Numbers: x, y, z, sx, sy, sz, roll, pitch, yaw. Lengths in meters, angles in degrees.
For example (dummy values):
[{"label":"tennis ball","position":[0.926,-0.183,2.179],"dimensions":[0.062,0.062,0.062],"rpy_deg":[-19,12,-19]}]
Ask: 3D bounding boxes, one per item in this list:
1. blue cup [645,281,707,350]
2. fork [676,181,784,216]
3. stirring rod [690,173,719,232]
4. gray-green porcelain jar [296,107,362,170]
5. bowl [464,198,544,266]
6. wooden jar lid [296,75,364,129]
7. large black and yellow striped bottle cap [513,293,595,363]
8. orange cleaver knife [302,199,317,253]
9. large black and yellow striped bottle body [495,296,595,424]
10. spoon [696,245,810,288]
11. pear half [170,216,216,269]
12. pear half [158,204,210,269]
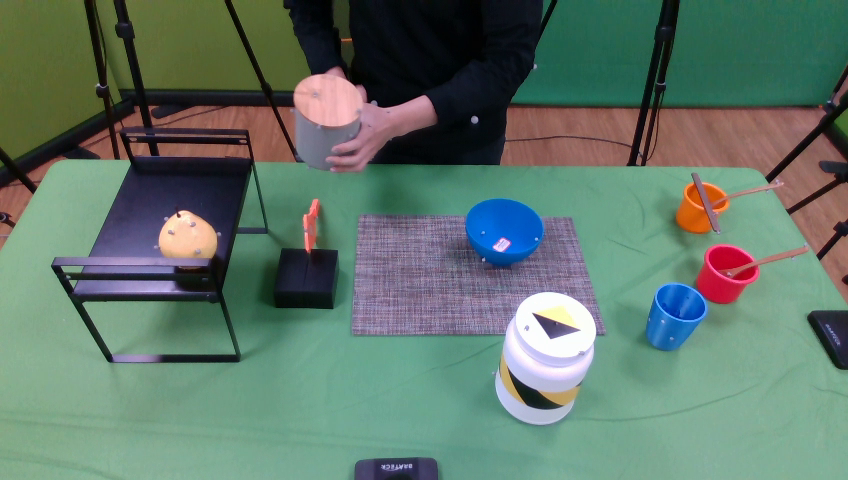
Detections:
[{"label":"blue cup","position":[0.425,0.136,1.042],"dimensions":[0.092,0.101,0.092],"rpy_deg":[1,44,-1]},{"label":"fork","position":[0.618,-0.083,1.235],"dimensions":[0.207,0.019,0.028],"rpy_deg":[-23,21,38]},{"label":"stirring rod","position":[0.566,-0.080,1.225],"dimensions":[0.014,0.006,0.175],"rpy_deg":[2,46,2]},{"label":"gray-green porcelain jar","position":[-0.162,-0.188,1.022],"dimensions":[0.106,0.127,0.105],"rpy_deg":[6,60,-10]},{"label":"bowl","position":[0.149,-0.004,1.167],"dimensions":[0.151,0.077,0.150],"rpy_deg":[2,46,-2]},{"label":"wooden jar lid","position":[-0.150,-0.218,0.969],"dimensions":[0.108,0.021,0.108],"rpy_deg":[7,60,-13]},{"label":"large black and yellow striped bottle cap","position":[0.186,0.123,0.863],"dimensions":[0.115,0.019,0.114],"rpy_deg":[3,45,-3]},{"label":"orange cleaver knife","position":[-0.219,-0.031,1.168],"dimensions":[0.012,0.077,0.210],"rpy_deg":[-5,17,-3]},{"label":"large black and yellow striped bottle body","position":[0.183,0.182,0.923],"dimensions":[0.131,0.185,0.130],"rpy_deg":[2,46,-2]},{"label":"spoon","position":[0.601,0.047,1.114],"dimensions":[0.193,0.022,0.041],"rpy_deg":[-27,36,33]},{"label":"pear half","position":[-0.323,0.007,0.866],"dimensions":[0.031,0.088,0.070],"rpy_deg":[25,46,20]},{"label":"pear half","position":[-0.352,-0.015,0.872],"dimensions":[0.056,0.110,0.076],"rpy_deg":[26,46,20]}]
